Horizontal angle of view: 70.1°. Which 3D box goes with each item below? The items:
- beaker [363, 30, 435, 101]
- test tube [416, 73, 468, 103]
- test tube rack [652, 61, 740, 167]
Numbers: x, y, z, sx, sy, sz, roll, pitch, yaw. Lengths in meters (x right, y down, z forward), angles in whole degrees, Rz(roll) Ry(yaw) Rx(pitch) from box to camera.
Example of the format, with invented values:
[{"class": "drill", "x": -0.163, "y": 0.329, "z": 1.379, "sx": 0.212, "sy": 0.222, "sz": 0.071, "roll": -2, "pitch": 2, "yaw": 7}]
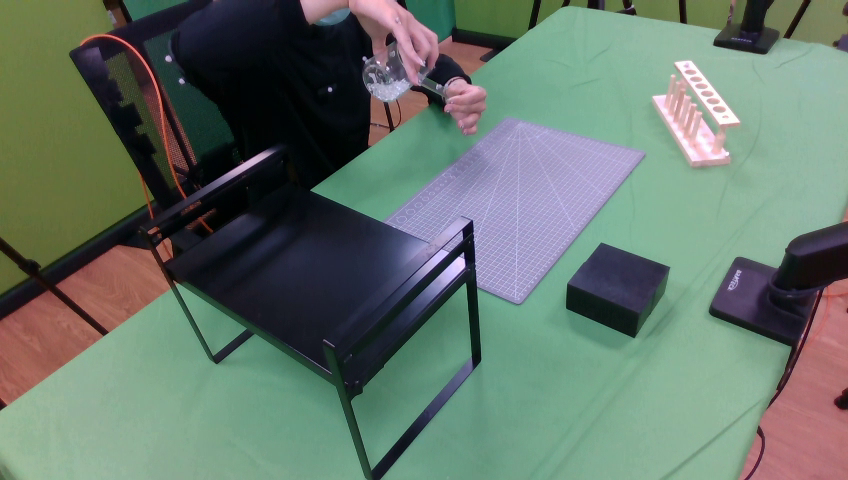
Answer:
[{"class": "beaker", "x": -0.040, "y": -0.264, "z": 0.933, "sx": 0.073, "sy": 0.084, "sz": 0.100, "roll": 17, "pitch": 48, "yaw": 32}, {"class": "test tube", "x": 0.035, "y": -0.260, "z": 1.044, "sx": 0.017, "sy": 0.017, "sz": 0.152, "roll": 27, "pitch": 12, "yaw": 33}, {"class": "test tube rack", "x": 0.499, "y": -0.242, "z": 1.130, "sx": 0.067, "sy": 0.085, "sz": 0.241, "roll": -5, "pitch": 41, "yaw": 3}]
